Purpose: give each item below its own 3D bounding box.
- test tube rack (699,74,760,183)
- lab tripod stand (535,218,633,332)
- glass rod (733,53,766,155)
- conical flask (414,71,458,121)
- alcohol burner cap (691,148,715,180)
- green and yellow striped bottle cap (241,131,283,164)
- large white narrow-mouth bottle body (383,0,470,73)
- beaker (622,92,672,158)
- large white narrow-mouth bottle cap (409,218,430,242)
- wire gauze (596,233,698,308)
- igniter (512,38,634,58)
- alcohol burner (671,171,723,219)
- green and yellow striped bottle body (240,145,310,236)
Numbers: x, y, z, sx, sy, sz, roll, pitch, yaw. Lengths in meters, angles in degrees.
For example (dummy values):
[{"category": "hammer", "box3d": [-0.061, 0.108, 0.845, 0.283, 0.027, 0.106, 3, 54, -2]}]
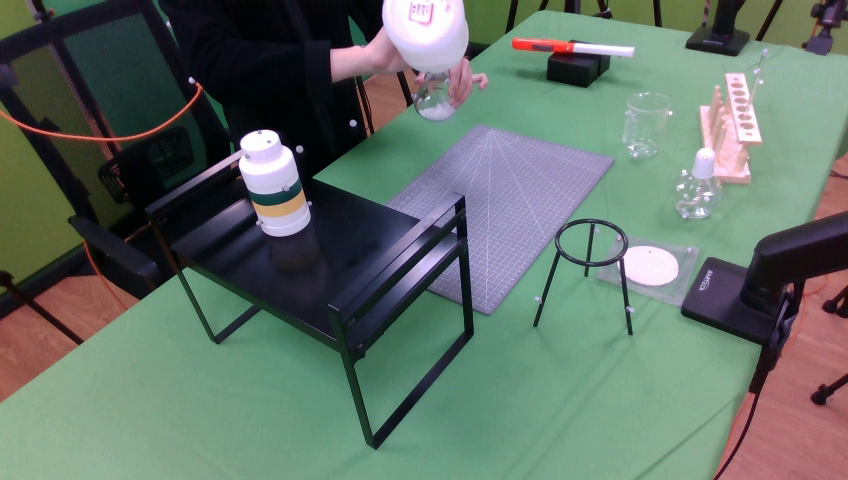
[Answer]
[{"category": "test tube rack", "box3d": [0.547, -0.208, 1.095, 0.066, 0.085, 0.242, 6, 42, 15]}, {"category": "lab tripod stand", "box3d": [0.215, 0.050, 0.803, 0.148, 0.132, 0.147, -4, 42, 4]}, {"category": "glass rod", "box3d": [0.540, -0.220, 1.006, 0.008, 0.201, 0.008, -5, 45, 6]}, {"category": "conical flask", "box3d": [0.022, -0.258, 0.988, 0.075, 0.122, 0.075, 1, 62, -1]}, {"category": "alcohol burner cap", "box3d": [0.432, -0.120, 0.930, 0.034, 0.048, 0.033, -7, 48, 8]}, {"category": "green and yellow striped bottle cap", "box3d": [-0.187, -0.107, 0.695, 0.045, 0.020, 0.045, -3, 39, 3]}, {"category": "large white narrow-mouth bottle body", "box3d": [0.012, -0.284, 0.835, 0.101, 0.101, 0.195, 1, 3, 9]}, {"category": "beaker", "box3d": [0.402, -0.210, 1.106, 0.074, 0.101, 0.083, -8, 40, -2]}, {"category": "large white narrow-mouth bottle cap", "box3d": [-0.008, -0.017, 0.999, 0.038, 0.024, 0.037, -3, 39, 3]}, {"category": "wire gauze", "box3d": [0.331, 0.038, 0.897, 0.124, 0.011, 0.121, 18, 47, 26]}, {"category": "igniter", "box3d": [0.328, -0.433, 1.360, 0.275, 0.025, 0.057, 12, 33, 20]}, {"category": "alcohol burner", "box3d": [0.434, -0.093, 0.955, 0.078, 0.119, 0.077, -3, 43, 3]}, {"category": "green and yellow striped bottle body", "box3d": [-0.181, -0.069, 0.729, 0.063, 0.120, 0.063, -4, 40, 4]}]
